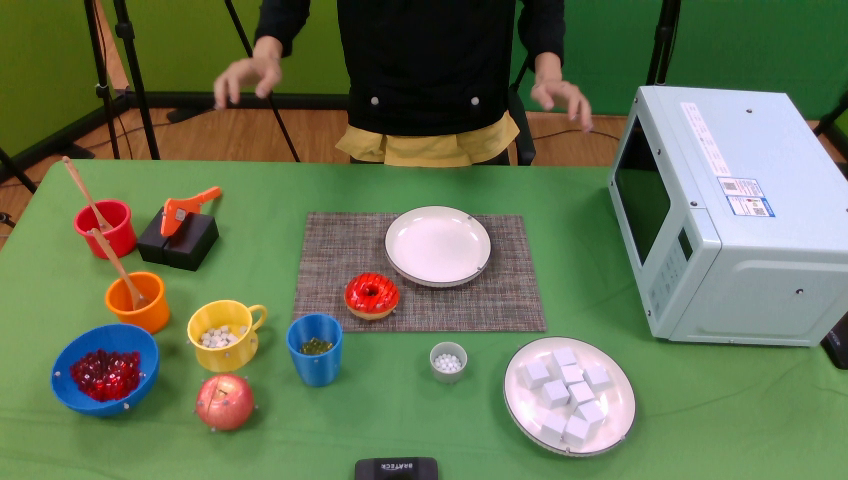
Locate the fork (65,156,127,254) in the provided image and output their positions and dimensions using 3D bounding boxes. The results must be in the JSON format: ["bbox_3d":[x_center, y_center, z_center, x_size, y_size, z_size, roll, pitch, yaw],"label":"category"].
[{"bbox_3d":[-0.614,-0.064,1.130,0.028,0.018,0.207,-29,97,-16],"label":"fork"}]

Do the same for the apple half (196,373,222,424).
[{"bbox_3d":[-0.322,0.239,0.907,0.033,0.081,0.081,7,46,-1],"label":"apple half"}]

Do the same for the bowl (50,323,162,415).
[{"bbox_3d":[-0.472,0.209,0.924,0.151,0.077,0.150,3,45,-2],"label":"bowl"}]

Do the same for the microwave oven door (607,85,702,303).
[{"bbox_3d":[0.423,-0.094,1.140,0.039,0.245,0.353,2,46,-1],"label":"microwave oven door"}]

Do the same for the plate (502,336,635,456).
[{"bbox_3d":[0.225,0.248,0.963,0.208,0.039,0.206,2,46,-2],"label":"plate"}]

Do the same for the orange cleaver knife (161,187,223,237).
[{"bbox_3d":[-0.448,-0.058,1.180,0.012,0.077,0.211,13,17,6],"label":"orange cleaver knife"}]

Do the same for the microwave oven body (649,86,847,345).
[{"bbox_3d":[0.567,-0.053,1.118,0.326,0.261,0.439,2,45,-1],"label":"microwave oven body"}]

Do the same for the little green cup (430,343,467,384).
[{"bbox_3d":[0.039,0.203,0.994,0.061,0.039,0.061,2,46,-2],"label":"little green cup"}]

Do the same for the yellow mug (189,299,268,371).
[{"bbox_3d":[-0.316,0.148,1.002,0.131,0.064,0.099,-32,56,-32],"label":"yellow mug"}]

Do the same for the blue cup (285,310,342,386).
[{"bbox_3d":[-0.170,0.179,0.958,0.093,0.101,0.092,1,44,-1],"label":"blue cup"}]

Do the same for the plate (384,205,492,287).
[{"bbox_3d":[0.027,0.015,1.169,0.209,0.038,0.208,2,46,-2],"label":"plate"}]

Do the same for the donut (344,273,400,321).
[{"bbox_3d":[-0.092,0.099,1.075,0.099,0.048,0.098,3,44,-3],"label":"donut"}]

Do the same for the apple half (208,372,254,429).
[{"bbox_3d":[-0.283,0.244,0.908,0.053,0.075,0.080,7,42,-1],"label":"apple half"}]

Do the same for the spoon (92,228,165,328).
[{"bbox_3d":[-0.496,0.063,1.014,0.041,0.194,0.021,-34,12,-31],"label":"spoon"}]

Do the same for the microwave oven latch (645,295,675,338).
[{"bbox_3d":[0.412,0.134,1.061,0.030,0.029,0.078,3,45,0],"label":"microwave oven latch"}]
